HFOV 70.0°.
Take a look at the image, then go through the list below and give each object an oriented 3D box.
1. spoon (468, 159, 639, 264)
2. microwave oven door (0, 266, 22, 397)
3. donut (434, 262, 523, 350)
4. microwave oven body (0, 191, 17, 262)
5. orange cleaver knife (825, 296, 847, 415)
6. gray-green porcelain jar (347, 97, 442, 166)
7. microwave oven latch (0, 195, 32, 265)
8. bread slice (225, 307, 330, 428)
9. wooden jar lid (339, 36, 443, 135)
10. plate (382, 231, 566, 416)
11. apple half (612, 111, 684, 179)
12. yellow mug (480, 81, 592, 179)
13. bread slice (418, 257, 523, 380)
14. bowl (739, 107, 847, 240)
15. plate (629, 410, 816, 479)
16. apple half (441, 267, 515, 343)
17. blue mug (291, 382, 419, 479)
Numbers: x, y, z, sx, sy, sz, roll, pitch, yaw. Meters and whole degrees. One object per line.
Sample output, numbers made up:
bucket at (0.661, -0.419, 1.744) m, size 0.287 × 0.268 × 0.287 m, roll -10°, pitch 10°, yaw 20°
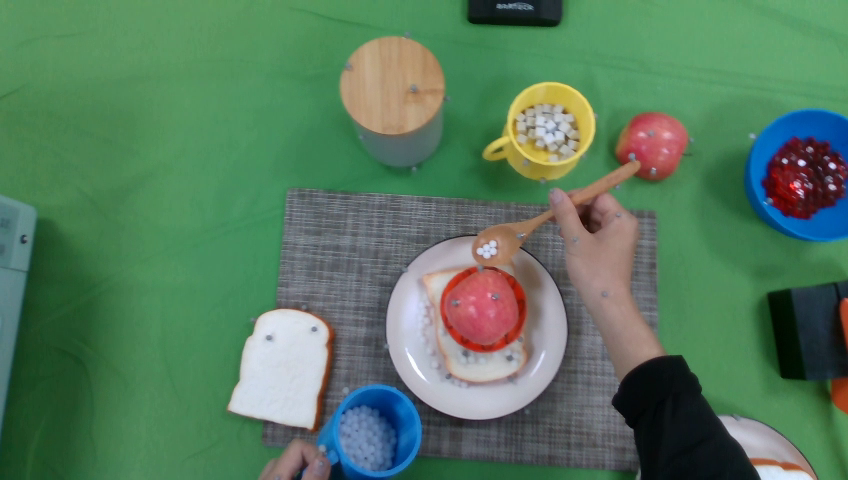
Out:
spoon at (0.128, -0.028, 0.615) m, size 0.193 × 0.022 × 0.041 m, roll -30°, pitch 82°, yaw 27°
microwave oven door at (-0.501, 0.187, 0.568) m, size 0.039 × 0.244 × 0.354 m, roll 4°, pitch 80°, yaw 2°
donut at (0.061, 0.073, 0.670) m, size 0.099 × 0.048 × 0.098 m, roll 0°, pitch 81°, yaw 2°
microwave oven body at (-0.643, 0.136, 0.583) m, size 0.326 × 0.261 × 0.440 m, roll 4°, pitch 81°, yaw 1°
orange cleaver knife at (0.467, 0.167, 0.659) m, size 0.012 × 0.077 × 0.212 m, roll -8°, pitch 102°, yaw -7°
gray-green porcelain jar at (-0.033, -0.148, 0.695) m, size 0.106 × 0.127 × 0.105 m, roll 0°, pitch 80°, yaw 1°
microwave oven latch at (-0.481, -0.012, 0.703) m, size 0.030 × 0.029 × 0.079 m, roll 8°, pitch 81°, yaw 2°
bread slice at (-0.166, 0.143, 0.701) m, size 0.105 × 0.019 × 0.131 m, roll 11°, pitch 82°, yaw 2°
wooden jar lid at (-0.034, -0.159, 0.633) m, size 0.108 × 0.021 × 0.108 m, roll 0°, pitch 79°, yaw 1°
plate at (0.056, 0.094, 0.695) m, size 0.208 × 0.039 × 0.207 m, roll 0°, pitch 80°, yaw 1°
apple half at (0.271, -0.119, 0.723) m, size 0.074 × 0.053 × 0.080 m, roll 26°, pitch 82°, yaw 7°
yellow mug at (0.128, -0.123, 0.719) m, size 0.131 × 0.064 × 0.099 m, roll -20°, pitch 81°, yaw -2°
bread slice at (0.060, 0.092, 0.695) m, size 0.107 × 0.018 × 0.133 m, roll -13°, pitch 80°, yaw 0°
bowl at (0.429, -0.068, 0.700) m, size 0.151 × 0.077 × 0.151 m, roll 0°, pitch 81°, yaw 1°
plate at (0.323, 0.291, 0.663) m, size 0.209 × 0.038 × 0.208 m, roll 0°, pitch 80°, yaw 1°
apple half at (0.058, 0.068, 0.635) m, size 0.081 × 0.033 × 0.081 m, roll -1°, pitch 82°, yaw 7°
blue mug at (-0.073, 0.198, 0.580) m, size 0.117 × 0.106 × 0.082 m, roll -22°, pitch 71°, yaw -29°
